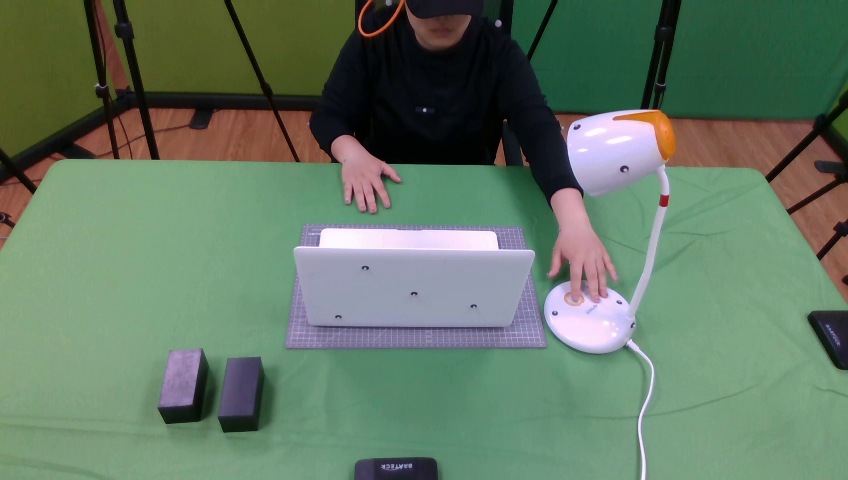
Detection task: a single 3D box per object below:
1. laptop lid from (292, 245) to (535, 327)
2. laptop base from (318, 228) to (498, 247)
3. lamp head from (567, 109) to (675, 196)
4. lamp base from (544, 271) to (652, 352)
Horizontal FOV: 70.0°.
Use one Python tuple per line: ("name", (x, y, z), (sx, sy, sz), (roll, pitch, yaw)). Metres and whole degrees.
("laptop lid", (-0.018, 0.080, 0.956), (0.357, 0.243, 0.013), (2, 54, -5))
("laptop base", (-0.027, 0.066, 1.134), (0.355, 0.023, 0.234), (1, 43, -4))
("lamp head", (0.272, -0.123, 0.818), (0.122, 0.113, 0.112), (-9, 35, 37))
("lamp base", (0.310, 0.086, 1.029), (0.178, 0.181, 0.160), (32, 52, 21))
